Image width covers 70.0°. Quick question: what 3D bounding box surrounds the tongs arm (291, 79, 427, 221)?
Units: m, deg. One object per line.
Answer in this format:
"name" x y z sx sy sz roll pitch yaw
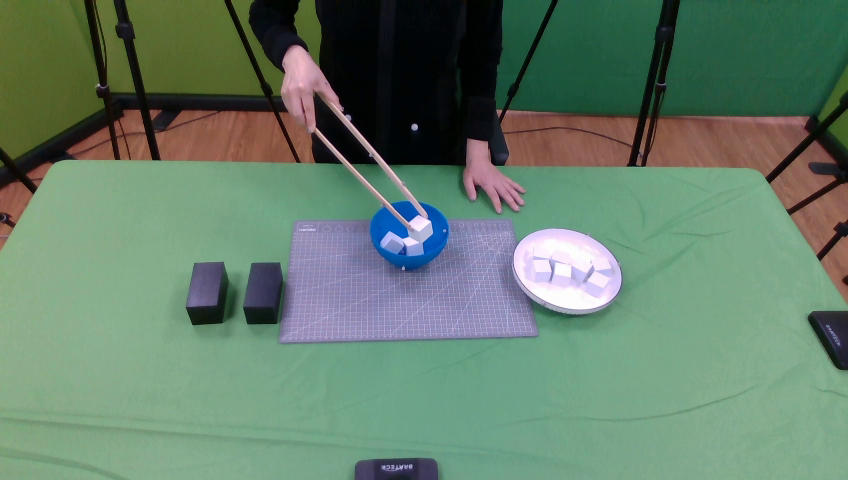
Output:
"tongs arm" -0.126 -0.169 1.108 0.051 0.026 0.383 -34 69 -11

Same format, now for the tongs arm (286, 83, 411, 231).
"tongs arm" -0.144 -0.155 1.102 0.028 0.028 0.386 -39 70 -9

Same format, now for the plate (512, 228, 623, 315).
"plate" 0.268 0.063 1.146 0.208 0.039 0.206 3 46 -3

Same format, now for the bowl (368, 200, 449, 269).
"bowl" -0.031 0.002 1.151 0.151 0.077 0.150 2 46 -2
